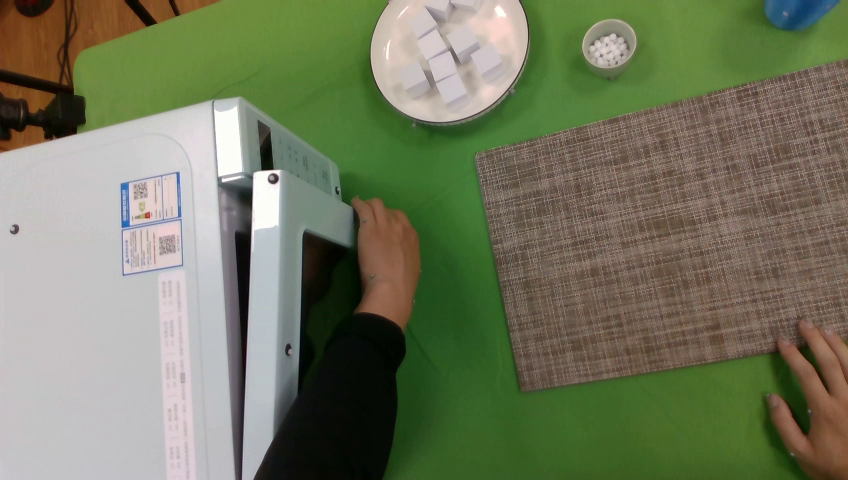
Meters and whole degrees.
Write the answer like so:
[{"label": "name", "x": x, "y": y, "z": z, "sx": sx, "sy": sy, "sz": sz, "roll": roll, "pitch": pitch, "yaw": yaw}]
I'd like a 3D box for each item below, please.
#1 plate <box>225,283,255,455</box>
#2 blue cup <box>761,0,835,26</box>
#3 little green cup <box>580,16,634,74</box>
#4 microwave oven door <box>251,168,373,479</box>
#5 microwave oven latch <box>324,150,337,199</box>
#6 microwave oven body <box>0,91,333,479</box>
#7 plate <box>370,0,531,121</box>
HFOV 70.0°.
[{"label": "plate", "x": -0.244, "y": 0.155, "z": 0.730, "sx": 0.208, "sy": 0.038, "sz": 0.208, "roll": -2, "pitch": 82, "yaw": 13}, {"label": "blue cup", "x": 0.411, "y": -0.281, "z": 0.652, "sx": 0.092, "sy": 0.101, "sz": 0.092, "roll": -2, "pitch": 83, "yaw": 14}, {"label": "little green cup", "x": 0.220, "y": -0.231, "z": 0.728, "sx": 0.061, "sy": 0.039, "sz": 0.061, "roll": -2, "pitch": 81, "yaw": 15}, {"label": "microwave oven door", "x": -0.110, "y": 0.125, "z": 0.640, "sx": 0.039, "sy": 0.245, "sz": 0.354, "roll": -3, "pitch": 81, "yaw": 14}, {"label": "microwave oven latch", "x": -0.128, "y": -0.073, "z": 0.779, "sx": 0.030, "sy": 0.029, "sz": 0.079, "roll": -5, "pitch": 82, "yaw": 14}, {"label": "microwave oven body", "x": -0.273, "y": 0.110, "z": 0.691, "sx": 0.325, "sy": 0.261, "sz": 0.440, "roll": -9, "pitch": 81, "yaw": 13}, {"label": "plate", "x": 0.034, "y": -0.250, "z": 0.780, "sx": 0.207, "sy": 0.039, "sz": 0.207, "roll": -2, "pitch": 82, "yaw": 15}]
